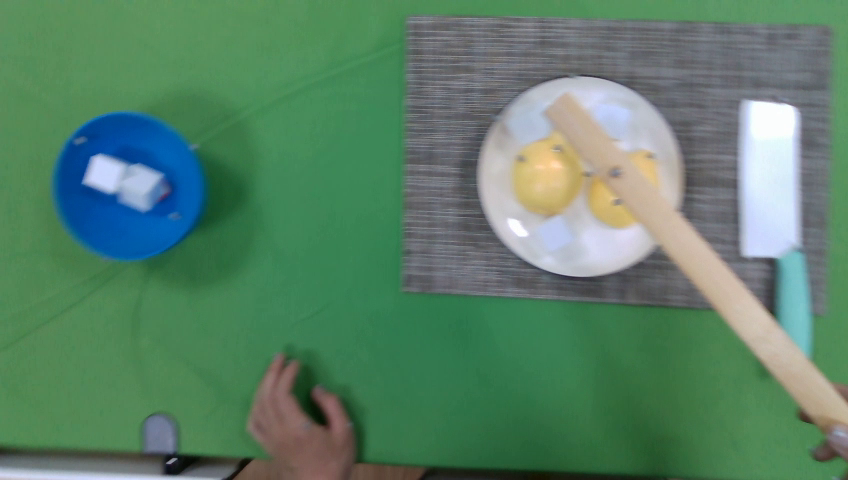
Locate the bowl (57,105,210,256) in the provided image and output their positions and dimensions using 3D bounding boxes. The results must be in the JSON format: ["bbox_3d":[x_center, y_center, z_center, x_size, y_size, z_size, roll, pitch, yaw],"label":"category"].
[{"bbox_3d":[-0.289,-0.060,0.640,0.151,0.077,0.151,0,92,3],"label":"bowl"}]

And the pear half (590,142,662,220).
[{"bbox_3d":[0.214,-0.063,0.625,0.070,0.031,0.088,33,99,-2],"label":"pear half"}]

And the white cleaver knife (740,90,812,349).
[{"bbox_3d":[0.370,-0.016,0.640,0.065,0.021,0.286,-1,88,20],"label":"white cleaver knife"}]

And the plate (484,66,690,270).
[{"bbox_3d":[0.166,-0.073,0.633,0.207,0.039,0.207,0,92,3],"label":"plate"}]

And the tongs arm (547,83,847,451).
[{"bbox_3d":[0.221,0.041,0.429,0.028,0.028,0.387,-41,86,12],"label":"tongs arm"}]

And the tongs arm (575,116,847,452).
[{"bbox_3d":[0.250,0.039,0.500,0.026,0.051,0.382,-40,74,16],"label":"tongs arm"}]

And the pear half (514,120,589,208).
[{"bbox_3d":[0.135,-0.090,0.620,0.076,0.056,0.109,12,88,-1],"label":"pear half"}]
